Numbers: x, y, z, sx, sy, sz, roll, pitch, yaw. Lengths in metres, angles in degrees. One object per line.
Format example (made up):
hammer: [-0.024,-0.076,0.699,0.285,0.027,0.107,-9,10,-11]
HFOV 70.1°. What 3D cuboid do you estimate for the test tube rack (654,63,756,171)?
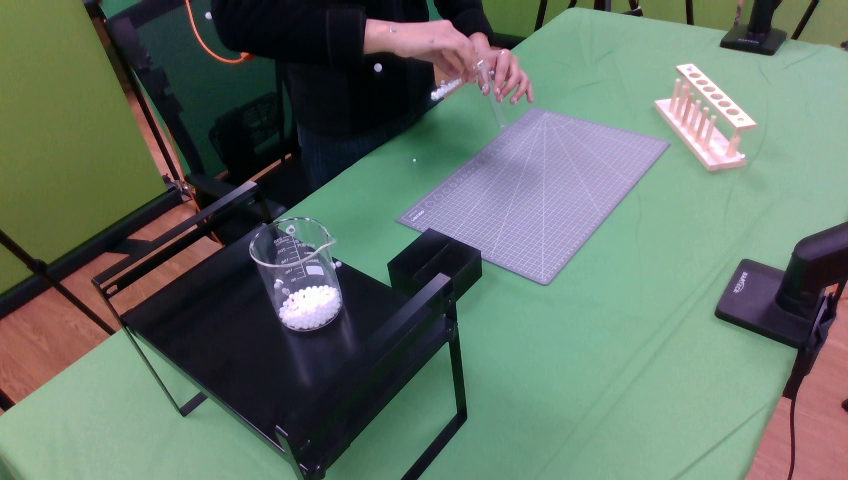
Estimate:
test tube rack: [0.510,-0.233,1.120,0.067,0.085,0.241,-8,41,-1]

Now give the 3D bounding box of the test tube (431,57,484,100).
test tube: [0.053,-0.251,0.938,0.017,0.017,0.151,18,43,27]

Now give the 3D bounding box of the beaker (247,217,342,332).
beaker: [-0.124,0.037,0.614,0.084,0.101,0.073,-7,41,0]

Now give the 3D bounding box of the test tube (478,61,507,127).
test tube: [0.121,-0.249,1.048,0.017,0.151,0.017,-11,55,16]
